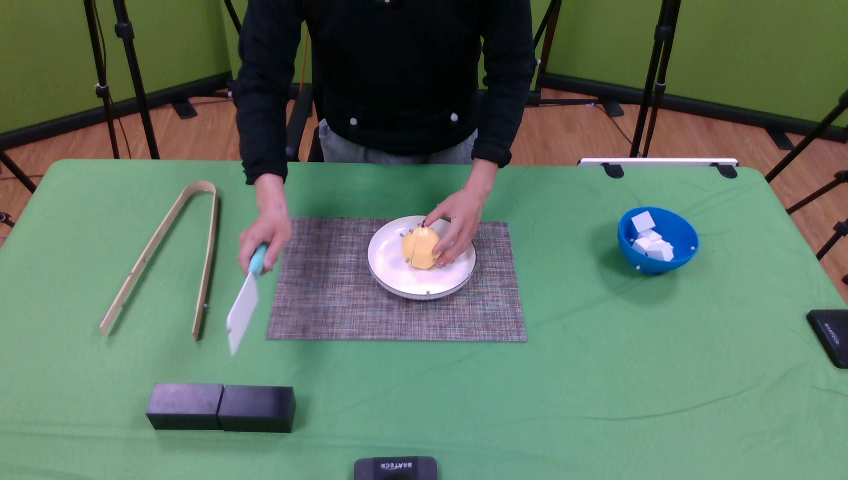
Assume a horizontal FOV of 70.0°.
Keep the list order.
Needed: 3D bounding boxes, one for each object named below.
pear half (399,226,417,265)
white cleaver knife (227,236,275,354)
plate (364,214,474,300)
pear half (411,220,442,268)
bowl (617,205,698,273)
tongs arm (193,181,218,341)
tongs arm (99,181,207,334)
[{"bbox_3d":[-0.031,0.006,1.124,0.031,0.088,0.070,5,50,-2],"label":"pear half"},{"bbox_3d":[-0.264,0.073,0.923,0.021,0.066,0.285,0,25,-2],"label":"white cleaver knife"},{"bbox_3d":[-0.010,0.036,1.146,0.208,0.039,0.206,2,46,-2],"label":"plate"},{"bbox_3d":[0.006,0.003,1.117,0.056,0.110,0.076,4,51,0],"label":"pear half"},{"bbox_3d":[0.442,0.011,1.181,0.151,0.077,0.150,2,46,-2],"label":"bowl"},{"bbox_3d":[-0.413,0.024,1.140,0.028,0.028,0.385,-5,47,-7],"label":"tongs arm"},{"bbox_3d":[-0.494,0.018,1.132,0.051,0.026,0.382,7,45,-1],"label":"tongs arm"}]
